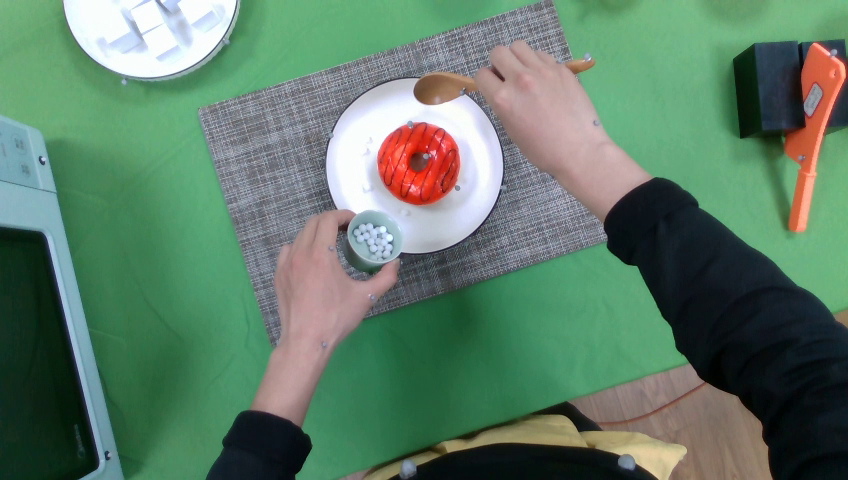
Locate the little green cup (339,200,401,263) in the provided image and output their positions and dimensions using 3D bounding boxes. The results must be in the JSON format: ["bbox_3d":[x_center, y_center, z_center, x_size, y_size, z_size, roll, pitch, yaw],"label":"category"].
[{"bbox_3d":[-0.059,-0.007,0.629,0.062,0.039,0.061,15,48,-17],"label":"little green cup"}]

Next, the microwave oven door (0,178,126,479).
[{"bbox_3d":[-0.403,0.108,0.586,0.039,0.244,0.355,-15,88,-1],"label":"microwave oven door"}]

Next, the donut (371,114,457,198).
[{"bbox_3d":[-0.011,-0.096,0.699,0.099,0.048,0.099,0,90,1],"label":"donut"}]

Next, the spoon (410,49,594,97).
[{"bbox_3d":[0.067,-0.158,0.575,0.192,0.042,0.021,5,64,37],"label":"spoon"}]

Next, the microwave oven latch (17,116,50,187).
[{"bbox_3d":[-0.457,-0.099,0.695,0.030,0.029,0.079,-14,89,-1],"label":"microwave oven latch"}]

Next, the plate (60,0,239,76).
[{"bbox_3d":[-0.320,-0.294,0.720,0.208,0.039,0.207,0,88,0],"label":"plate"}]

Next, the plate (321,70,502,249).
[{"bbox_3d":[-0.014,-0.092,0.710,0.209,0.038,0.209,0,89,0],"label":"plate"}]

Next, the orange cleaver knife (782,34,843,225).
[{"bbox_3d":[0.433,-0.122,0.693,0.012,0.076,0.213,-3,117,2],"label":"orange cleaver knife"}]

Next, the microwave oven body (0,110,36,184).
[{"bbox_3d":[-0.555,0.105,0.591,0.326,0.260,0.441,-15,89,-1],"label":"microwave oven body"}]
